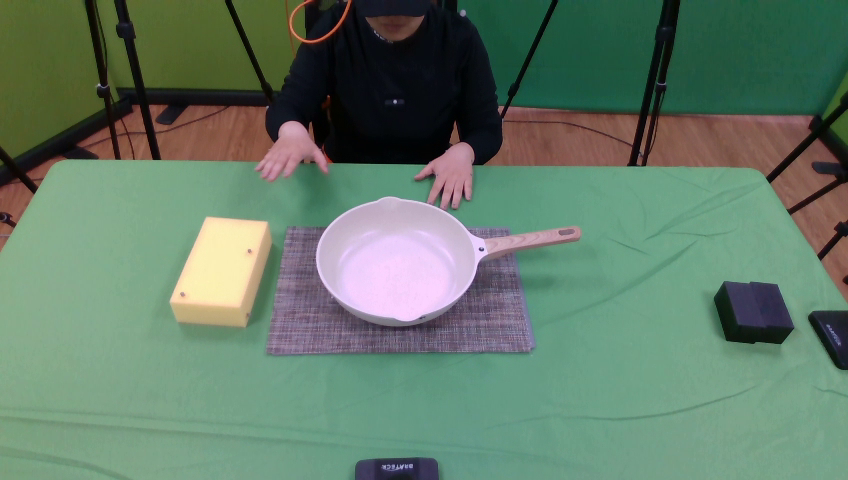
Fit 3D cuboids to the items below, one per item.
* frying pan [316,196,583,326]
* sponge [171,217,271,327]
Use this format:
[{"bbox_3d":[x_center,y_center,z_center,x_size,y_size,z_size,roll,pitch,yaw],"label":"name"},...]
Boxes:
[{"bbox_3d":[0.054,0.027,1.114,0.488,0.103,0.304,-9,48,-1],"label":"frying pan"},{"bbox_3d":[-0.359,0.053,1.094,0.118,0.061,0.205,3,46,-1],"label":"sponge"}]
